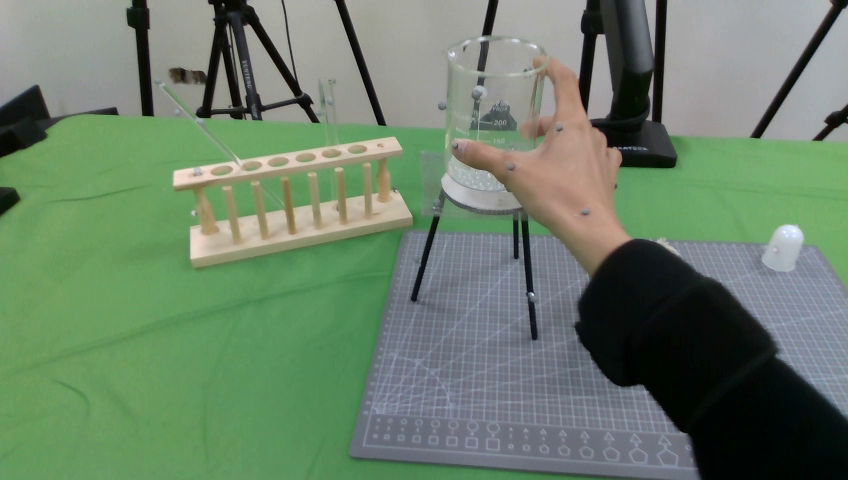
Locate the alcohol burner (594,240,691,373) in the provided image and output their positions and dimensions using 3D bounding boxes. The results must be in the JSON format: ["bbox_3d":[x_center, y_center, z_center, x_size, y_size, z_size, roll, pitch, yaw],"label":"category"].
[{"bbox_3d":[0.182,0.051,0.498,0.078,0.120,0.077,-1,35,1],"label":"alcohol burner"}]

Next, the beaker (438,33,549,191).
[{"bbox_3d":[0.046,-0.095,0.459,0.083,0.101,0.074,20,42,23],"label":"beaker"}]

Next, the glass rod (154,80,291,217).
[{"bbox_3d":[-0.205,-0.087,0.634,0.008,0.202,0.008,-22,40,20],"label":"glass rod"}]

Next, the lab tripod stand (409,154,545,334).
[{"bbox_3d":[0.056,0.000,0.555,0.148,0.132,0.147,-2,38,2],"label":"lab tripod stand"}]

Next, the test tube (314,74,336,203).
[{"bbox_3d":[-0.107,-0.108,0.669,0.017,0.151,0.017,0,34,0],"label":"test tube"}]

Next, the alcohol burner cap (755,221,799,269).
[{"bbox_3d":[0.362,0.003,0.619,0.034,0.048,0.033,-1,36,1],"label":"alcohol burner cap"}]

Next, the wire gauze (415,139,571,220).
[{"bbox_3d":[0.054,-0.053,0.515,0.125,0.011,0.120,-2,36,1],"label":"wire gauze"}]

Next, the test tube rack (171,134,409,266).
[{"bbox_3d":[-0.143,-0.048,0.673,0.243,0.086,0.066,-12,38,-14],"label":"test tube rack"}]
